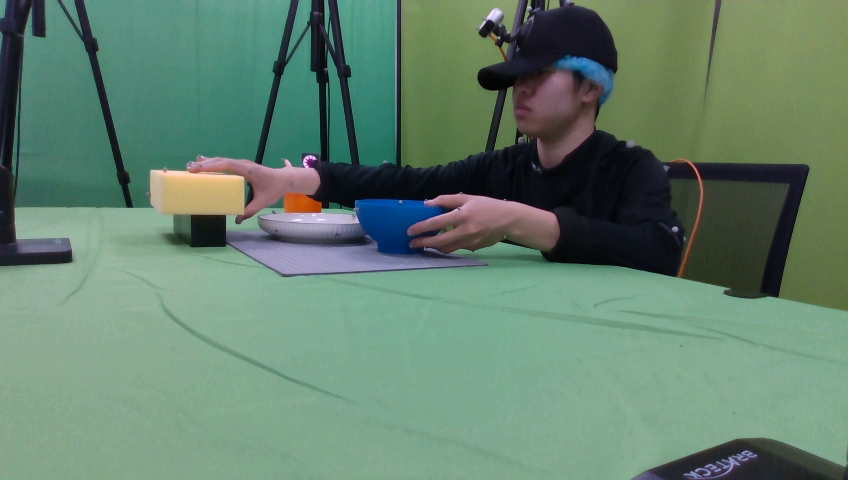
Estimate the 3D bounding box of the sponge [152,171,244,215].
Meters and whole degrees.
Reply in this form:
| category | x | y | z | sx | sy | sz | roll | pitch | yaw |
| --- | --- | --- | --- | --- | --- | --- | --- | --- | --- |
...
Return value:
| category | x | y | z | sx | sy | sz | roll | pitch | yaw |
| --- | --- | --- | --- | --- | --- | --- | --- | --- | --- |
| sponge | -0.377 | -0.080 | 0.998 | 0.119 | 0.061 | 0.206 | -1 | 8 | -28 |

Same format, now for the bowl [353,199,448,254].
| category | x | y | z | sx | sy | sz | roll | pitch | yaw |
| --- | --- | --- | --- | --- | --- | --- | --- | --- | --- |
| bowl | -0.038 | -0.022 | 0.952 | 0.151 | 0.077 | 0.151 | 2 | 7 | 0 |

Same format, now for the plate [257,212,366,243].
| category | x | y | z | sx | sy | sz | roll | pitch | yaw |
| --- | --- | --- | --- | --- | --- | --- | --- | --- | --- |
| plate | -0.189 | -0.023 | 1.072 | 0.209 | 0.038 | 0.209 | 3 | 7 | 0 |

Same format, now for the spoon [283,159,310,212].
| category | x | y | z | sx | sy | sz | roll | pitch | yaw |
| --- | --- | --- | --- | --- | --- | --- | --- | --- | --- |
| spoon | -0.279 | -0.111 | 1.323 | 0.042 | 0.193 | 0.021 | 2 | -38 | -35 |
